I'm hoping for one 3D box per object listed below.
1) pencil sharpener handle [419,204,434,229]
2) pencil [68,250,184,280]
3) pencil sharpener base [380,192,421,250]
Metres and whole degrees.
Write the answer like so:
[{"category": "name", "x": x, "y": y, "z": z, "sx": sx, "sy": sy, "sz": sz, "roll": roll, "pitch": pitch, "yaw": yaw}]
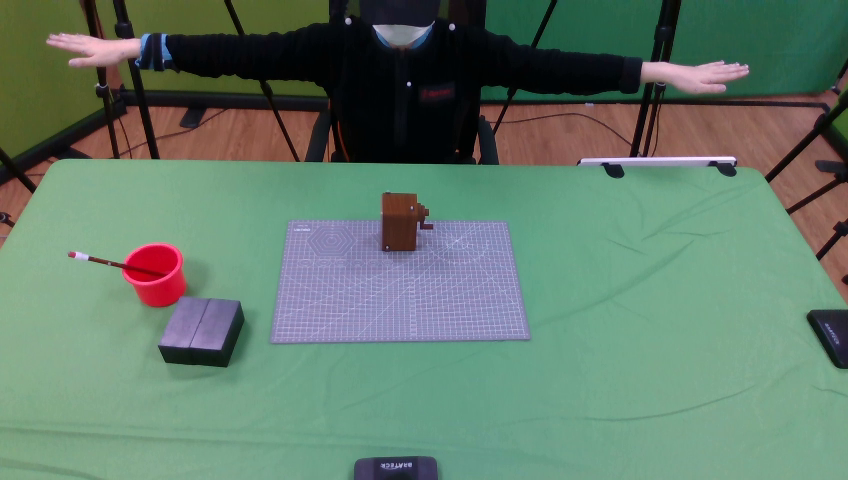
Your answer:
[{"category": "pencil sharpener handle", "x": 0.006, "y": -0.045, "z": 1.160, "sx": 0.031, "sy": 0.068, "sz": 0.036, "roll": 0, "pitch": 52, "yaw": -4}, {"category": "pencil", "x": -0.497, "y": 0.046, "z": 1.026, "sx": 0.195, "sy": 0.012, "sz": 0.012, "roll": 21, "pitch": 29, "yaw": -44}, {"category": "pencil sharpener base", "x": -0.046, "y": -0.035, "z": 1.163, "sx": 0.077, "sy": 0.107, "sz": 0.061, "roll": 0, "pitch": 46, "yaw": -4}]
